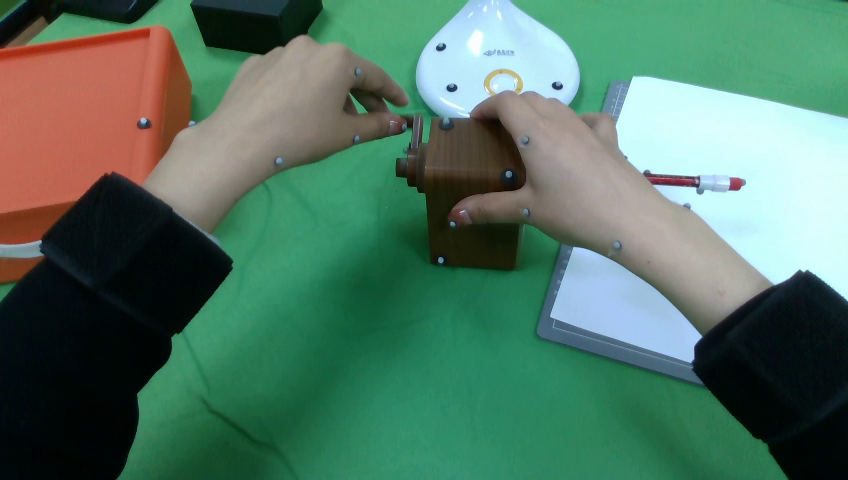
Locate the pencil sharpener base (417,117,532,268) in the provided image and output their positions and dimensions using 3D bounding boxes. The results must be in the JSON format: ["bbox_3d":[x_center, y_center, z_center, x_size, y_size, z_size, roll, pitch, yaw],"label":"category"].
[{"bbox_3d":[0.036,-0.032,0.446,0.076,0.108,0.061,2,53,5],"label":"pencil sharpener base"}]

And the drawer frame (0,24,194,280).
[{"bbox_3d":[-0.307,-0.076,0.511,0.202,0.083,0.211,-11,52,-5],"label":"drawer frame"}]

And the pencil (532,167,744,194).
[{"bbox_3d":[0.120,-0.044,0.419,0.194,0.012,0.012,4,53,3],"label":"pencil"}]

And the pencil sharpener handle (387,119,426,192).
[{"bbox_3d":[-0.015,-0.063,0.438,0.030,0.036,0.067,3,50,5],"label":"pencil sharpener handle"}]

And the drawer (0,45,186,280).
[{"bbox_3d":[-0.305,-0.074,0.510,0.195,0.074,0.209,-11,52,-4],"label":"drawer"}]

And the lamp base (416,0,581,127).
[{"bbox_3d":[0.067,-0.221,0.542,0.161,0.182,0.177,-10,51,-5],"label":"lamp base"}]
